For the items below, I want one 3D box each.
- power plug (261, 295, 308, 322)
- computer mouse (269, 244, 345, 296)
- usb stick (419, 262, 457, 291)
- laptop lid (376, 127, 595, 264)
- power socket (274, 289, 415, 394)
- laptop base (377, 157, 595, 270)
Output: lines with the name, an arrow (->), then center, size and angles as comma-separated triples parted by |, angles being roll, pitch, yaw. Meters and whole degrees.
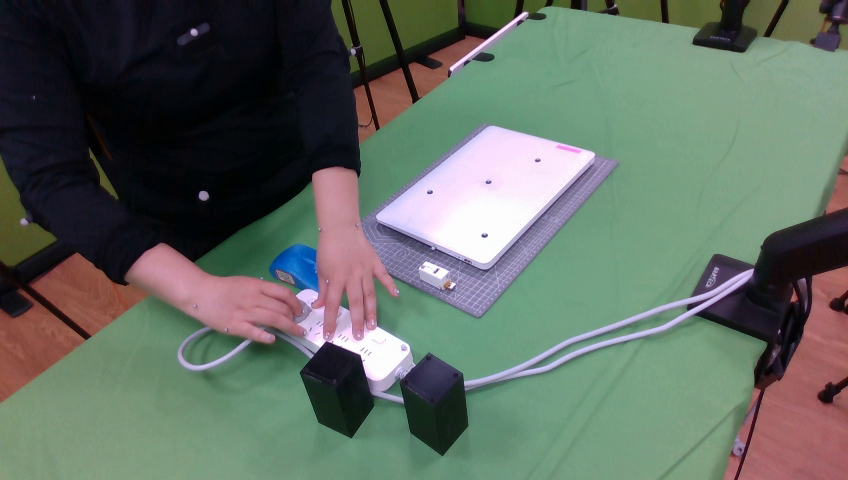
power plug -> -0.193, 0.103, 0.824 | 0.073, 0.053, 0.035 | -22, 34, -36
computer mouse -> -0.181, 0.044, 0.933 | 0.116, 0.041, 0.063 | 23, 46, 25
usb stick -> 0.022, 0.056, 0.892 | 0.058, 0.027, 0.021 | 25, 47, 32
laptop lid -> 0.112, -0.096, 1.050 | 0.239, 0.013, 0.358 | 24, 49, 35
power socket -> -0.114, 0.132, 0.820 | 0.225, 0.033, 0.072 | 25, 49, 32
laptop base -> 0.115, -0.086, 1.056 | 0.233, 0.023, 0.355 | 21, 48, 34
